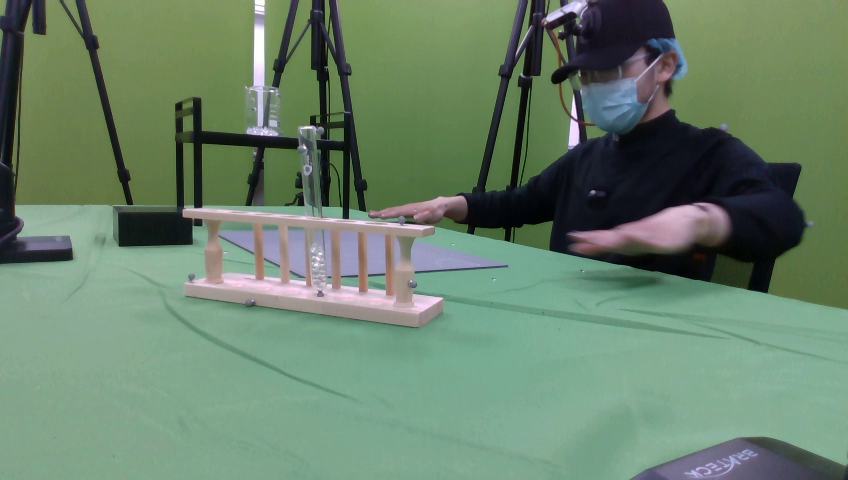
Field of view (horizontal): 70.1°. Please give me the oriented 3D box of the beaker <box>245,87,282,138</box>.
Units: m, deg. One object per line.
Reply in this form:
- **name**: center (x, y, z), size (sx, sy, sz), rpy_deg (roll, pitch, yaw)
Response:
- **beaker**: center (-0.337, -0.266, 1.260), size (0.074, 0.100, 0.084), rpy_deg (5, 8, 23)

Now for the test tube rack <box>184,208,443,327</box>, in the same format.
- **test tube rack**: center (-0.106, 0.019, 0.570), size (0.241, 0.085, 0.067), rpy_deg (5, 7, 20)

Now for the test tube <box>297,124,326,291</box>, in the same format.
- **test tube**: center (-0.101, -0.028, 0.542), size (0.017, 0.150, 0.017), rpy_deg (-2, 10, 1)
